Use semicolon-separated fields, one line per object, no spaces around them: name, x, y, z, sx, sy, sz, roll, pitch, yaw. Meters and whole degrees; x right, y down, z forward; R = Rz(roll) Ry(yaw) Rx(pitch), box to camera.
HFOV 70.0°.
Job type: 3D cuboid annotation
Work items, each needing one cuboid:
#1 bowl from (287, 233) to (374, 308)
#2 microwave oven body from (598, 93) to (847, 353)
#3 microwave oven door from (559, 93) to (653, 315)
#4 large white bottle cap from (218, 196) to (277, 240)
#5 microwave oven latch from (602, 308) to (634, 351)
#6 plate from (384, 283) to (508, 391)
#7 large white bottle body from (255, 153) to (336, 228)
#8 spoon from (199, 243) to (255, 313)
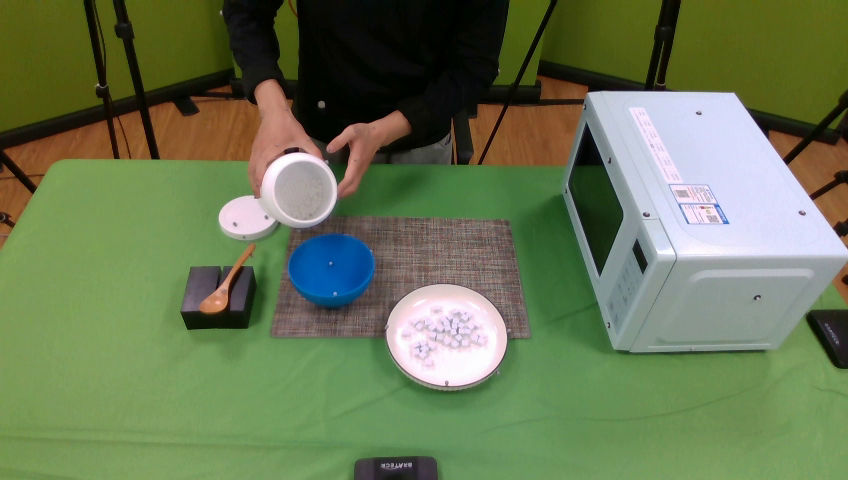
bowl;-0.164;0.068;1.078;0.151;0.077;0.150;3;46;-2
microwave oven body;0.475;-0.041;1.109;0.326;0.261;0.438;-1;45;-4
microwave oven door;0.327;-0.074;1.123;0.039;0.245;0.353;-1;46;-5
large white bottle cap;-0.355;-0.045;1.220;0.115;0.018;0.114;2;45;-2
microwave oven latch;0.332;0.153;1.044;0.030;0.029;0.078;-1;45;-4
plate;0.036;0.166;1.029;0.209;0.038;0.208;2;49;-2
large white bottle body;-0.233;-0.090;1.095;0.131;0.131;0.184;-15;11;-19
spoon;-0.334;0.062;1.051;0.041;0.022;0.193;8;40;7
